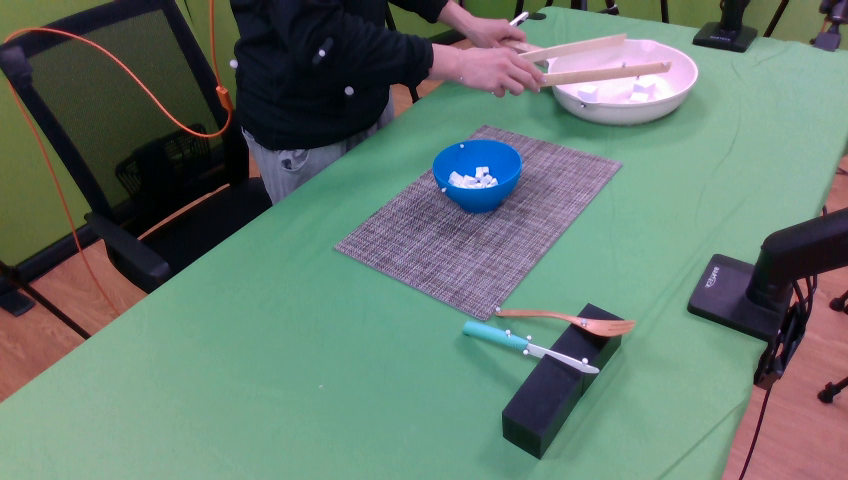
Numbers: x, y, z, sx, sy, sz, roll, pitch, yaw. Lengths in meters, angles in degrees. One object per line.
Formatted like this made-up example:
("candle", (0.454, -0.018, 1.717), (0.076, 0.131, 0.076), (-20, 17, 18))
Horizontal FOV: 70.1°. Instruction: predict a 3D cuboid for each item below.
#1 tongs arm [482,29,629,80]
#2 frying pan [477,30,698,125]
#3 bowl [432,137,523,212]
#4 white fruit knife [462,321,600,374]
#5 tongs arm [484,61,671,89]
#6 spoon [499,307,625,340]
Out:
("tongs arm", (0.262, -0.364, 1.168), (0.390, 0.028, 0.028), (-21, 58, -27))
("frying pan", (0.321, -0.371, 1.290), (0.484, 0.103, 0.308), (29, 51, 24))
("bowl", (0.091, -0.100, 1.022), (0.151, 0.077, 0.150), (-4, 41, 4))
("white fruit knife", (0.126, 0.132, 0.752), (0.205, 0.027, 0.016), (12, 48, 42))
("tongs arm", (0.293, -0.315, 1.125), (0.387, 0.026, 0.050), (-12, 51, -21))
("spoon", (0.169, 0.102, 0.773), (0.042, 0.021, 0.192), (-8, 12, -38))
